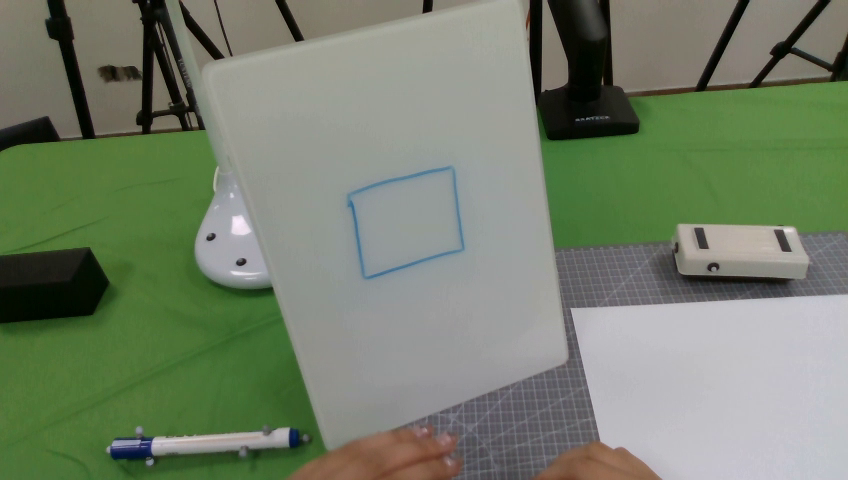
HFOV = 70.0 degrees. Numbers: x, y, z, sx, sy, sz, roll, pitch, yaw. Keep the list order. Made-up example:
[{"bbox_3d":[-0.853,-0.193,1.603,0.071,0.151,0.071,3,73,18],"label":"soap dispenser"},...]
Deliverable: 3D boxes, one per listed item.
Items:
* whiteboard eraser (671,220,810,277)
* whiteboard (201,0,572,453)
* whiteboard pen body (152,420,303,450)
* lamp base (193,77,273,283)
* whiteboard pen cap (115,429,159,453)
[{"bbox_3d":[0.299,0.009,0.580,0.112,0.042,0.055,1,40,9],"label":"whiteboard eraser"},{"bbox_3d":[-0.022,-0.022,0.505,0.217,0.307,0.142,-17,23,-11],"label":"whiteboard"},{"bbox_3d":[-0.168,0.158,0.487,0.141,0.017,0.017,-3,40,-2],"label":"whiteboard pen body"},{"bbox_3d":[-0.189,-0.073,0.636,0.177,0.182,0.160,26,50,35],"label":"lamp base"},{"bbox_3d":[-0.228,0.162,0.486,0.033,0.018,0.018,-2,40,-4],"label":"whiteboard pen cap"}]
